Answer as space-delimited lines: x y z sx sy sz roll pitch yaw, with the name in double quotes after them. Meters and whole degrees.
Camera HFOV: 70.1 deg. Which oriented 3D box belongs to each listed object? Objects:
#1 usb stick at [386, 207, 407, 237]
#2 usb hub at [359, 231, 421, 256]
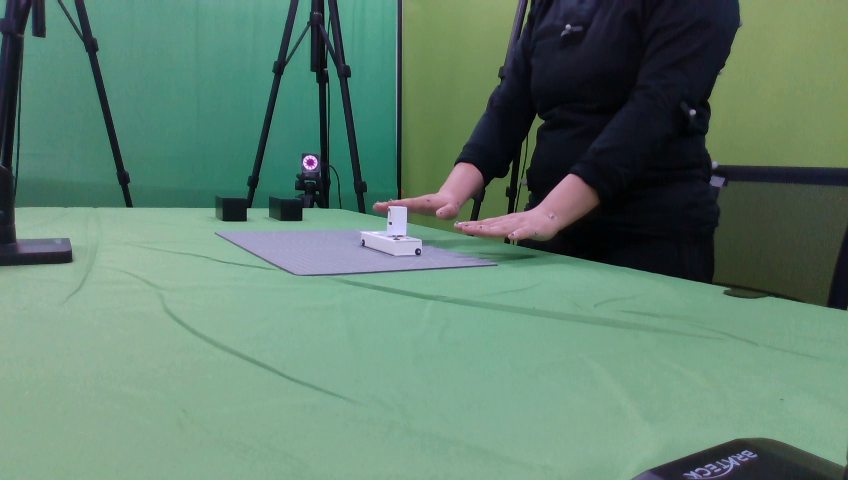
-0.043 -0.022 0.937 0.027 0.059 0.021 -5 10 -34 "usb stick"
-0.056 0.004 0.954 0.050 0.025 0.124 -2 8 -31 "usb hub"
